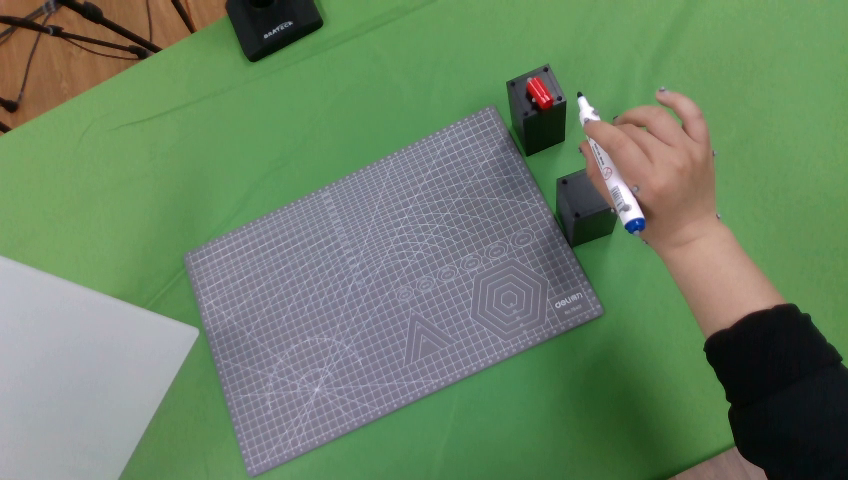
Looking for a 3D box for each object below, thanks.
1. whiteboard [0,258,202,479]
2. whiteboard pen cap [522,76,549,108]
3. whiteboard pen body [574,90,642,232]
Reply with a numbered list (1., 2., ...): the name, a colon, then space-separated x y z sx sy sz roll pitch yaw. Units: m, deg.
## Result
1. whiteboard: -0.451 0.132 0.669 0.142 0.309 0.216 20 79 37
2. whiteboard pen cap: 0.119 -0.158 0.647 0.017 0.017 0.032 -31 72 2
3. whiteboard pen body: 0.142 -0.068 0.481 0.017 0.017 0.139 -16 61 7
